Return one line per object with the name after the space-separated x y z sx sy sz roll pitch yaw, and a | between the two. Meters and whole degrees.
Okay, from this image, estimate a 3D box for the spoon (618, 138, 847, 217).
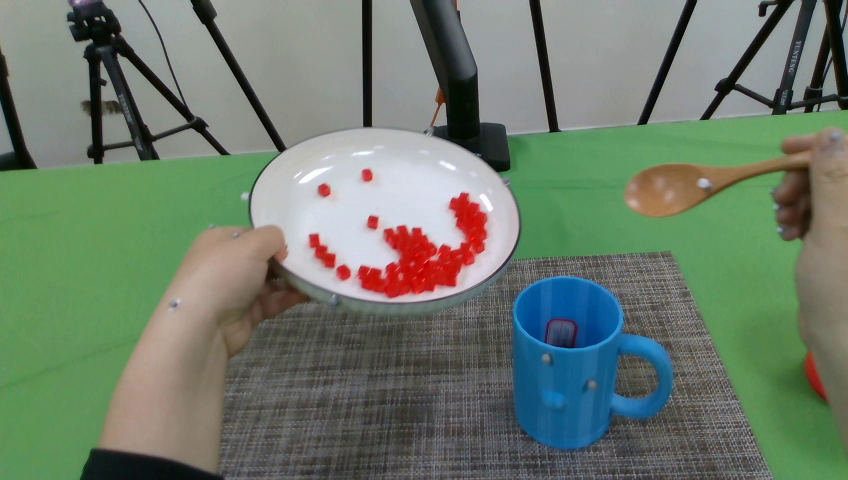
0.202 -0.043 0.356 0.193 0.022 0.041 -10 59 52 | spoon

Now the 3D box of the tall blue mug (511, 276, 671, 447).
0.120 0.091 0.456 0.107 0.109 0.077 -7 36 -1 | tall blue mug

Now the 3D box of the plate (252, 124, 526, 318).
-0.026 -0.017 0.474 0.208 0.039 0.205 5 44 -5 | plate
